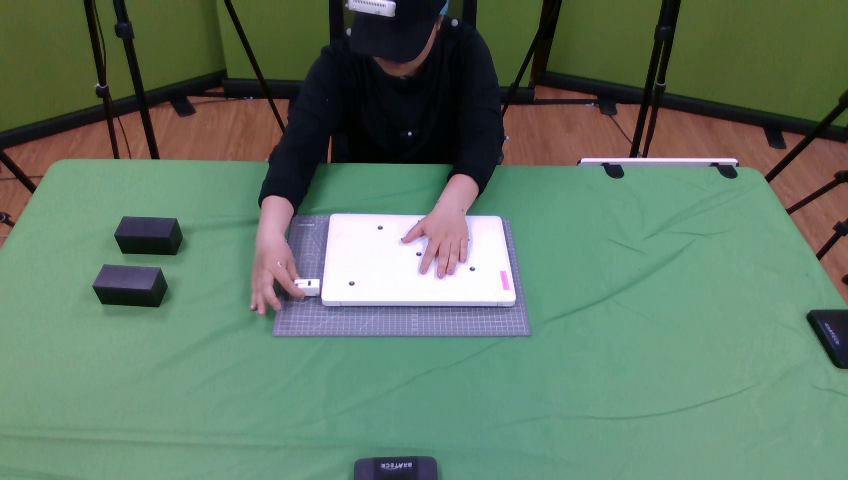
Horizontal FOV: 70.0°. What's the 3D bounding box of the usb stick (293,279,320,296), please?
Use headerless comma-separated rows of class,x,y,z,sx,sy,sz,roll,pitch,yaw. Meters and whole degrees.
usb stick,-0.203,0.085,1.082,0.059,0.027,0.021,4,51,-10

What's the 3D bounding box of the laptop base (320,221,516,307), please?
laptop base,-0.013,0.039,1.161,0.355,0.023,0.234,0,42,-4

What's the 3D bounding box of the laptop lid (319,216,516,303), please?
laptop lid,-0.013,0.031,1.155,0.357,0.013,0.240,2,42,-3
